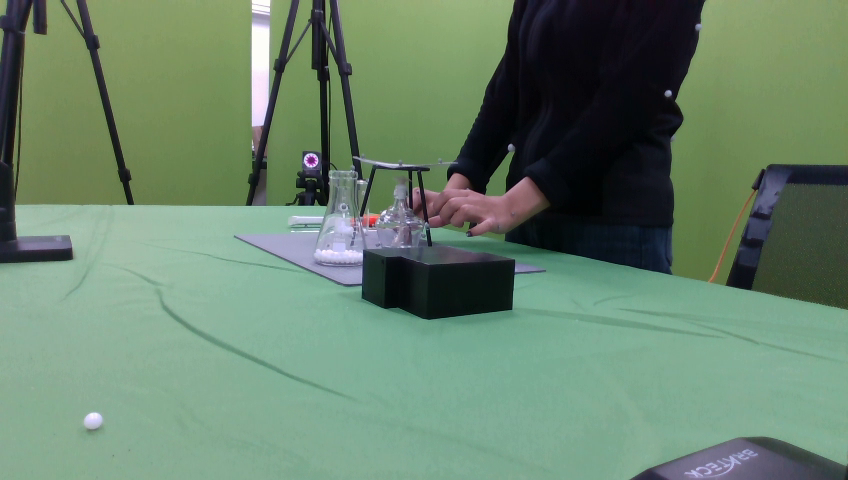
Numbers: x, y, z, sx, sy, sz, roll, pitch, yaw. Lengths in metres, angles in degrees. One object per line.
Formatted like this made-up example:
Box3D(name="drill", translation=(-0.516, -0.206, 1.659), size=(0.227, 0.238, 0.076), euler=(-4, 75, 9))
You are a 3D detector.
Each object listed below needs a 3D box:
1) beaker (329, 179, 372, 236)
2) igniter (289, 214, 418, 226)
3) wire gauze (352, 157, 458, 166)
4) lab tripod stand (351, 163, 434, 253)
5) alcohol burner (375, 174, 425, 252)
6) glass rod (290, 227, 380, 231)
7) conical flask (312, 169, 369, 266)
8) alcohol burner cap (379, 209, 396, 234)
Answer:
Box3D(name="beaker", translation=(-0.137, -0.061, 1.101), size=(0.084, 0.100, 0.074), euler=(4, 7, 20))
Box3D(name="igniter", translation=(-0.141, -0.042, 1.258), size=(0.278, 0.025, 0.057), euler=(-1, -2, -30))
Box3D(name="wire gauze", translation=(-0.029, -0.119, 0.927), size=(0.122, 0.011, 0.124), euler=(-3, 9, -36))
Box3D(name="lab tripod stand", translation=(-0.035, -0.052, 0.933), size=(0.148, 0.131, 0.148), euler=(4, 7, 0))
Box3D(name="alcohol burner", translation=(-0.036, -0.042, 0.934), size=(0.078, 0.119, 0.078), euler=(2, 9, 0))
Box3D(name="glass rod", translation=(-0.161, -0.023, 1.178), size=(0.201, 0.008, 0.008), euler=(-1, 8, -28))
Box3D(name="conical flask", translation=(-0.107, -0.031, 0.786), size=(0.075, 0.122, 0.075), euler=(2, 8, 0))
Box3D(name="alcohol burner cap", translation=(-0.069, -0.036, 1.154), size=(0.034, 0.048, 0.034), euler=(2, 7, 0))
